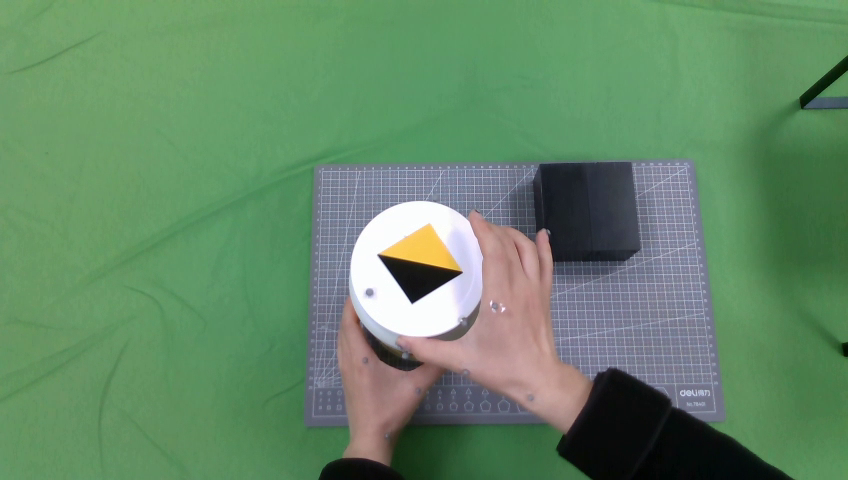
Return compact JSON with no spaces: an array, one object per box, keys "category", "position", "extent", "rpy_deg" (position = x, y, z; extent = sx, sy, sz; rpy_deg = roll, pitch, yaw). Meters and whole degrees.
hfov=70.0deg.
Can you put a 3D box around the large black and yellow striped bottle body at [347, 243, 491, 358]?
[{"category":"large black and yellow striped bottle body","position":[-0.004,0.044,0.591],"extent":[0.131,0.185,0.130],"rpy_deg":[0,75,0]}]

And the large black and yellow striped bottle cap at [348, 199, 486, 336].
[{"category":"large black and yellow striped bottle cap","position":[-0.006,0.022,0.502],"extent":[0.115,0.019,0.114],"rpy_deg":[0,77,0]}]
